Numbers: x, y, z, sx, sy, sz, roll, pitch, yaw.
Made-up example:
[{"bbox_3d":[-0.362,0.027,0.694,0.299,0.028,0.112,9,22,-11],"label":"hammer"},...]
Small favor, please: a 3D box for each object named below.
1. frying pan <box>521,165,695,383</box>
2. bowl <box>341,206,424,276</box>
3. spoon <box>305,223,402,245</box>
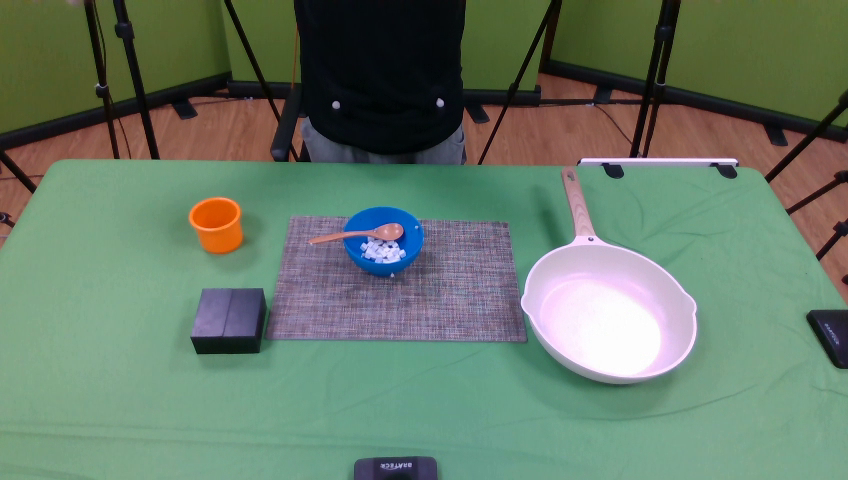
[{"bbox_3d":[0.312,0.044,1.123,0.307,0.103,0.484,1,55,-5],"label":"frying pan"},{"bbox_3d":[-0.079,0.014,1.133,0.151,0.077,0.150,2,46,-2],"label":"bowl"},{"bbox_3d":[-0.126,-0.010,1.109,0.194,0.022,0.041,-5,49,-35],"label":"spoon"}]
